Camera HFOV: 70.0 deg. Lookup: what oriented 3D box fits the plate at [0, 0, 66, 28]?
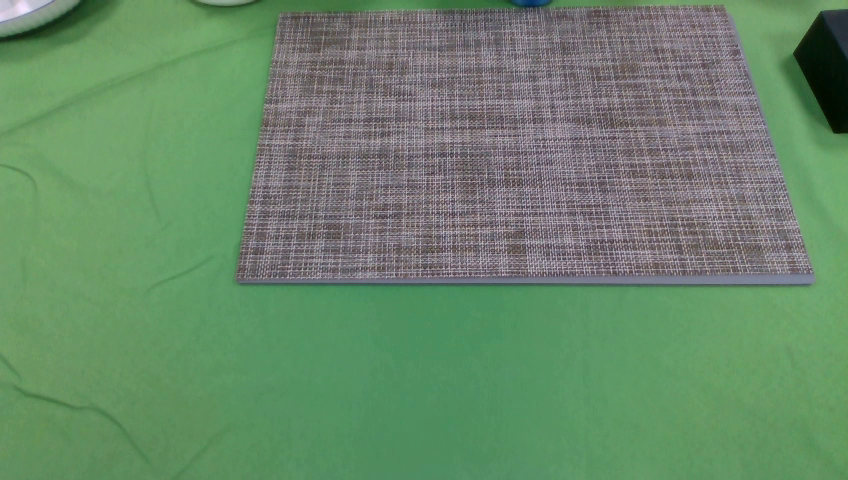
[{"bbox_3d":[-0.436,-0.290,0.630,0.208,0.039,0.206,0,62,1],"label":"plate"}]
